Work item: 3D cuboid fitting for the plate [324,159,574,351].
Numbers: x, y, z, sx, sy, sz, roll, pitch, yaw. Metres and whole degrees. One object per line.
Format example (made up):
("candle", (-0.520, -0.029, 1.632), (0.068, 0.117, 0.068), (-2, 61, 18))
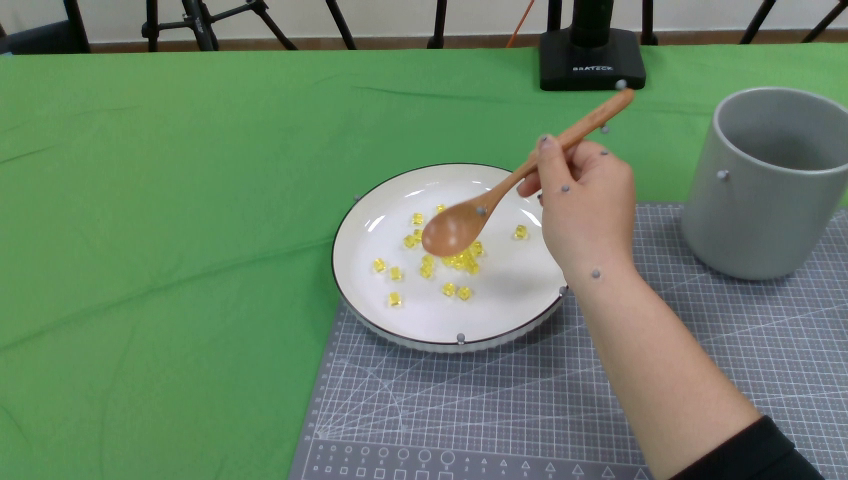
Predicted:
("plate", (0.021, 0.011, 0.520), (0.207, 0.039, 0.205), (-2, 47, 3))

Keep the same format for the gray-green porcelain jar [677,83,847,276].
("gray-green porcelain jar", (0.266, -0.042, 0.483), (0.106, 0.128, 0.105), (-3, 47, 4))

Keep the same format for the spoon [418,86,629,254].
("spoon", (0.072, -0.051, 0.461), (0.194, 0.022, 0.041), (-38, 59, 23))
